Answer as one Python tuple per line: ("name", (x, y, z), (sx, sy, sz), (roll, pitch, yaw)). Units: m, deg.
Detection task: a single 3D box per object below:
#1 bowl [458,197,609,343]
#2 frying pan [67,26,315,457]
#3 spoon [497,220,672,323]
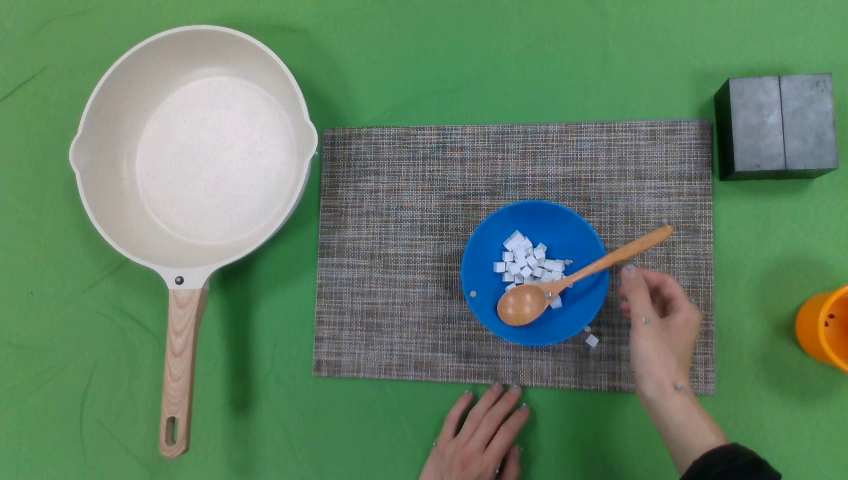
("bowl", (0.116, 0.034, 0.652), (0.151, 0.077, 0.151), (-1, 85, 8))
("frying pan", (-0.270, -0.004, 0.704), (0.306, 0.103, 0.485), (-1, 76, 9))
("spoon", (0.159, 0.032, 0.613), (0.193, 0.022, 0.041), (-31, 75, 23))
